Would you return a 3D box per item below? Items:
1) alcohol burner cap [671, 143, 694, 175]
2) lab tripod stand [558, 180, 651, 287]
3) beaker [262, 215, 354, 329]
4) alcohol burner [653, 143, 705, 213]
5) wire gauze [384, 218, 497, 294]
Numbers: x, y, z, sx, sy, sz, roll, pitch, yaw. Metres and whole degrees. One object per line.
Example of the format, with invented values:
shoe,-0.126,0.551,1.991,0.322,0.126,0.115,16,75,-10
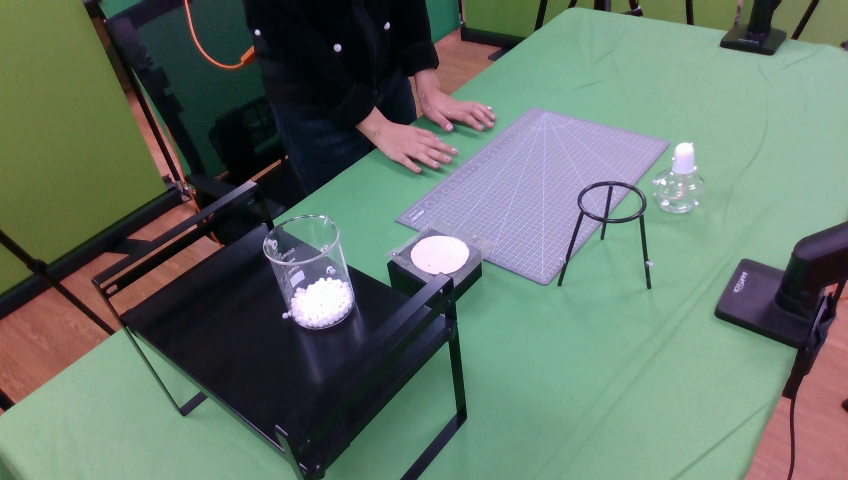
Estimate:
alcohol burner cap,0.403,-0.129,0.941,0.034,0.048,0.033,-9,39,8
lab tripod stand,0.258,-0.005,0.857,0.148,0.132,0.147,-4,43,4
beaker,-0.112,0.034,0.616,0.073,0.101,0.084,13,44,23
alcohol burner,0.408,-0.102,0.963,0.078,0.119,0.077,-6,42,6
wire gauze,0.024,0.016,0.886,0.124,0.011,0.122,28,49,33
